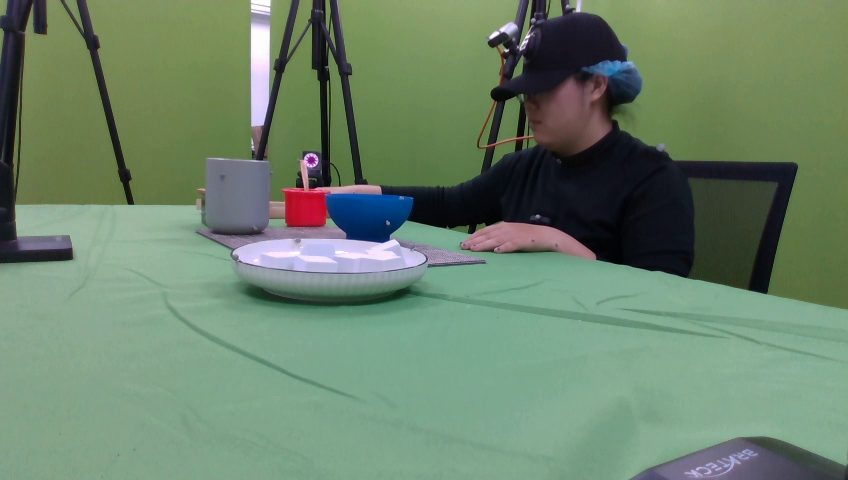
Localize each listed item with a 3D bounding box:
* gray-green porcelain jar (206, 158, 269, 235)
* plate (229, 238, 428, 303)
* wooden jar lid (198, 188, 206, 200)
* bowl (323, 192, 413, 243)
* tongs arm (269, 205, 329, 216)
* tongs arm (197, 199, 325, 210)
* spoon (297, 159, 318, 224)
[{"bbox_3d":[-0.323,-0.076,1.048,0.106,0.126,0.106,3,7,0],"label":"gray-green porcelain jar"},{"bbox_3d":[-0.099,0.032,0.651,0.209,0.038,0.209,3,8,0],"label":"plate"},{"bbox_3d":[-0.382,-0.088,1.175,0.108,0.020,0.108,3,8,0],"label":"wooden jar lid"},{"bbox_3d":[-0.094,-0.037,1.015,0.151,0.077,0.151,3,7,0],"label":"bowl"},{"bbox_3d":[-0.299,-0.068,1.389,0.390,0.028,0.028,-3,6,-39],"label":"tongs arm"},{"bbox_3d":[-0.336,-0.080,1.449,0.387,0.026,0.050,0,8,-29],"label":"tongs arm"},{"bbox_3d":[-0.244,-0.103,1.251,0.042,0.021,0.193,1,51,-17],"label":"spoon"}]
